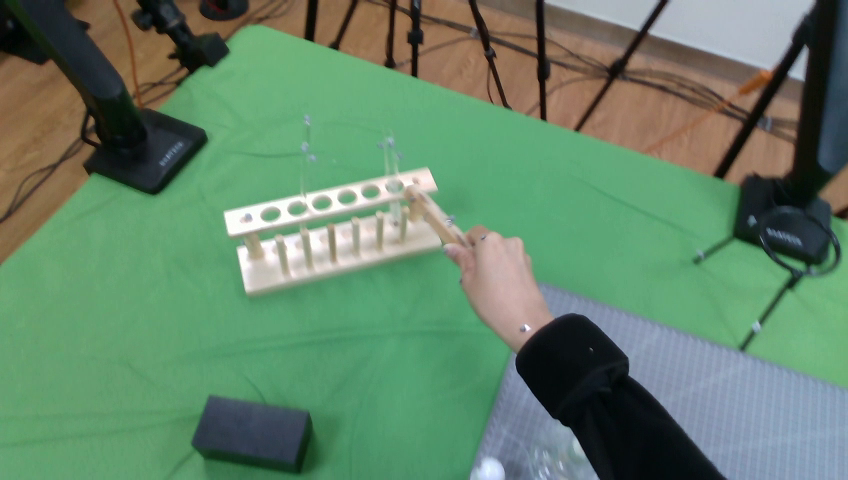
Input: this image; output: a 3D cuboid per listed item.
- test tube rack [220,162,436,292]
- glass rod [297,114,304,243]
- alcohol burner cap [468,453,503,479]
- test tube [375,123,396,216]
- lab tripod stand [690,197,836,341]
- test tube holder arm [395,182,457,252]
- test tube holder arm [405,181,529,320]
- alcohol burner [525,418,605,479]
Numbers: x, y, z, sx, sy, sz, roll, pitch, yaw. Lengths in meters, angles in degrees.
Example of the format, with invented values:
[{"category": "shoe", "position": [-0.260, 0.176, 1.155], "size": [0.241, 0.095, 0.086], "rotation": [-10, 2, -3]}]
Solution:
[{"category": "test tube rack", "position": [-0.107, -0.016, 0.725], "size": [0.243, 0.086, 0.066], "rotation": [-14, 59, -13]}, {"category": "glass rod", "position": [-0.138, -0.059, 0.672], "size": [0.008, 0.201, 0.008], "rotation": [6, 49, -7]}, {"category": "alcohol burner cap", "position": [0.062, 0.228, 0.597], "size": [0.034, 0.048, 0.033], "rotation": [1, 56, -2]}, {"category": "test tube", "position": [-0.044, -0.078, 0.711], "size": [0.017, 0.151, 0.017], "rotation": [0, 54, 1]}, {"category": "lab tripod stand", "position": [0.395, 0.028, 0.702], "size": [0.148, 0.132, 0.147], "rotation": [2, 58, -3]}, {"category": "test tube holder arm", "position": [0.003, -0.023, 0.586], "size": [0.010, 0.015, 0.087], "rotation": [-24, 63, -43]}, {"category": "test tube holder arm", "position": [0.036, 0.007, 0.575], "size": [0.013, 0.015, 0.177], "rotation": [-23, 62, -43]}, {"category": "alcohol burner", "position": [0.139, 0.203, 0.576], "size": [0.078, 0.120, 0.077], "rotation": [3, 56, -4]}]
